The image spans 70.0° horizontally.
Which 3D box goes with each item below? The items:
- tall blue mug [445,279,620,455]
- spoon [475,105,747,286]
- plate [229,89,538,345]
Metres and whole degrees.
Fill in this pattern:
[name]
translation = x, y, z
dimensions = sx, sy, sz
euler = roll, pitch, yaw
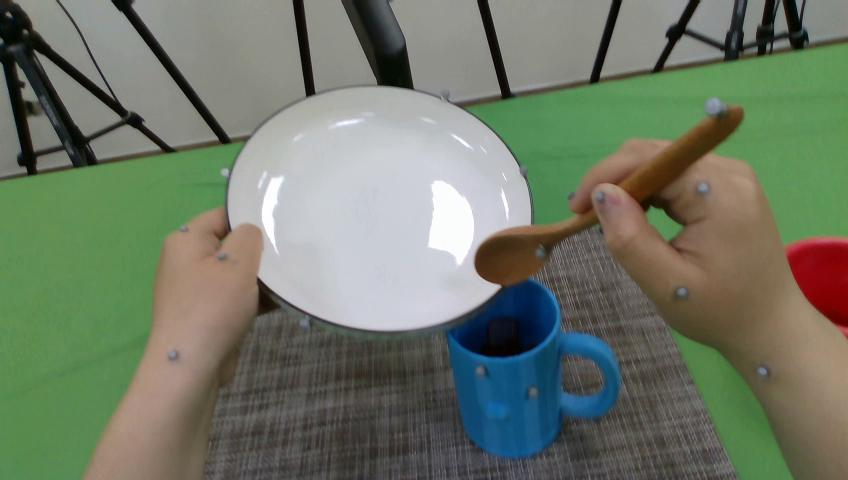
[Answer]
[tall blue mug]
translation = 0.073, 0.086, 0.425
dimensions = 0.107, 0.109, 0.077
euler = -13, 39, -2
[spoon]
translation = 0.080, -0.011, 0.301
dimensions = 0.042, 0.194, 0.021
euler = 28, 64, -12
[plate]
translation = -0.026, -0.019, 0.424
dimensions = 0.208, 0.039, 0.205
euler = 4, 57, -5
